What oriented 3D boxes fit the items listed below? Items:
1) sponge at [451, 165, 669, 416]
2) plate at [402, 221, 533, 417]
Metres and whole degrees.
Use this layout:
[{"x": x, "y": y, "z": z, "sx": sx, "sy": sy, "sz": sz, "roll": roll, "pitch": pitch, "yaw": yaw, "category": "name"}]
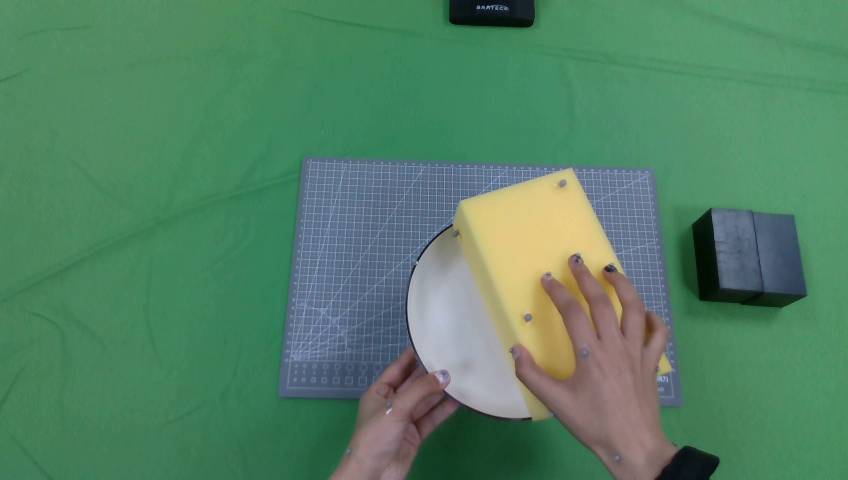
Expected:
[{"x": 0.119, "y": 0.044, "z": 0.565, "sx": 0.118, "sy": 0.061, "sz": 0.205, "roll": -19, "pitch": 72, "yaw": -12, "category": "sponge"}, {"x": 0.080, "y": 0.072, "z": 0.608, "sx": 0.209, "sy": 0.038, "sz": 0.208, "roll": 3, "pitch": 73, "yaw": -9, "category": "plate"}]
